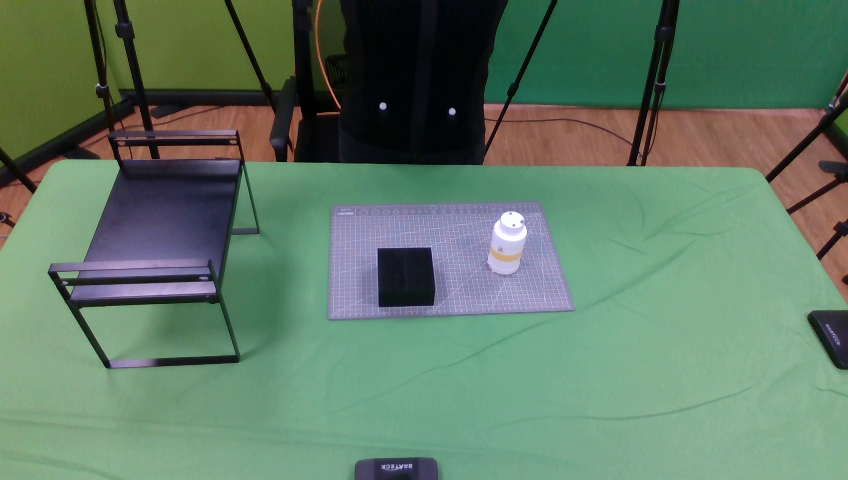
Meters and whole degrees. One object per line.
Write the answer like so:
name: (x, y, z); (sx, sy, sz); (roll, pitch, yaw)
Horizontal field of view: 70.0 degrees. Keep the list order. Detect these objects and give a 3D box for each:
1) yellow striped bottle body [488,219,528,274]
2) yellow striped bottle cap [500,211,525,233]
yellow striped bottle body: (0.157, 0.003, 1.132); (0.063, 0.121, 0.062); (2, 46, -2)
yellow striped bottle cap: (0.160, -0.033, 1.094); (0.044, 0.019, 0.044); (4, 46, -4)
